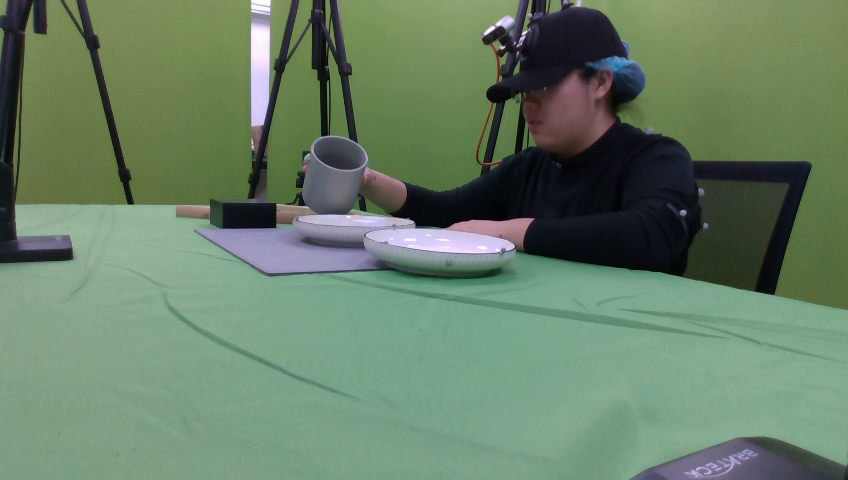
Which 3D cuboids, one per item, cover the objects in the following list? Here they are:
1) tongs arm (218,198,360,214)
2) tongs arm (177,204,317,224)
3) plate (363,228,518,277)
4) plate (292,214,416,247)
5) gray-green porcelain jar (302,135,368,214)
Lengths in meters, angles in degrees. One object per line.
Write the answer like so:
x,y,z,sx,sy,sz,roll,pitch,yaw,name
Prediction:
-0.312,-0.064,1.353,0.384,0.026,0.051,6,8,17,tongs arm
-0.332,-0.052,1.273,0.387,0.028,0.028,4,4,4,tongs arm
0.022,0.016,0.817,0.209,0.038,0.209,4,9,0,plate
-0.118,-0.017,1.024,0.208,0.039,0.207,2,8,0,plate
-0.171,-0.115,1.137,0.106,0.126,0.105,13,41,-11,gray-green porcelain jar
